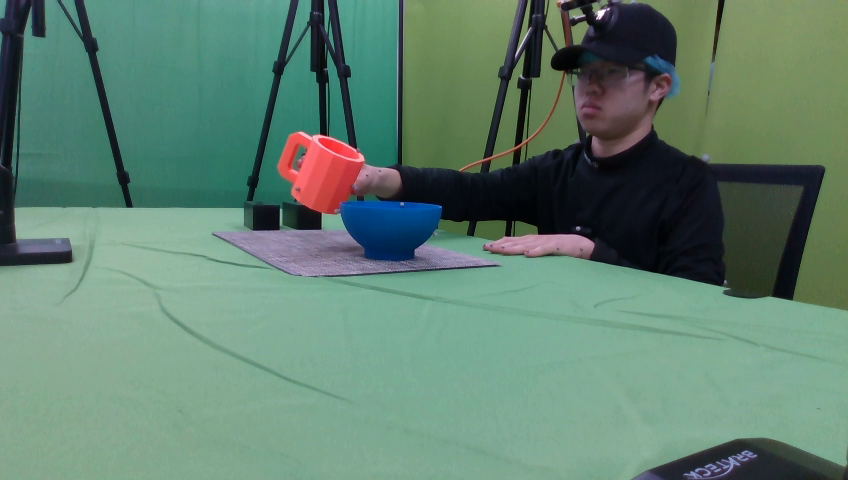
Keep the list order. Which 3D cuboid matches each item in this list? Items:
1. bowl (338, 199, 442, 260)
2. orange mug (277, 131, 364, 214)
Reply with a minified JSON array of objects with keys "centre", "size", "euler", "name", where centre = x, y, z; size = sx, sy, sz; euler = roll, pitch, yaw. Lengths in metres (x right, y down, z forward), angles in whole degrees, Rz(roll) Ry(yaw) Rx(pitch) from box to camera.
[{"centre":[-0.050,-0.015,0.878],"size":[0.151,0.077,0.151],"euler":[2,8,0],"name":"bowl"},{"centre":[-0.167,-0.113,0.947],"size":[0.126,0.100,0.083],"euler":[34,20,6],"name":"orange mug"}]
